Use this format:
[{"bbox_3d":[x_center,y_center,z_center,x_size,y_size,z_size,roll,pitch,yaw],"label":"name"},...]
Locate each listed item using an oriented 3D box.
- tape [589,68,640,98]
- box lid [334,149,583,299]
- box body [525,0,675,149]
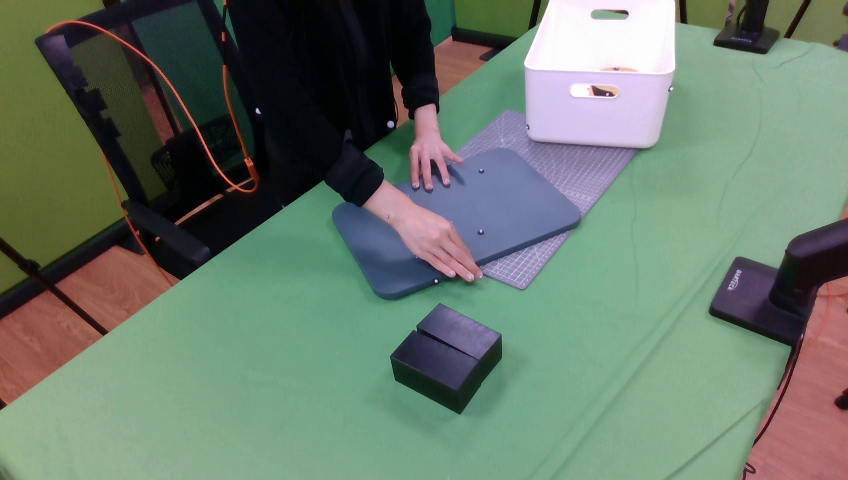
[{"bbox_3d":[0.396,-0.303,1.236,0.117,0.053,0.116,-4,41,4],"label":"tape"},{"bbox_3d":[0.049,-0.042,1.021,0.373,0.015,0.261,-21,42,-15],"label":"box lid"},{"bbox_3d":[0.356,-0.342,1.212,0.253,0.161,0.363,7,42,17],"label":"box body"}]
